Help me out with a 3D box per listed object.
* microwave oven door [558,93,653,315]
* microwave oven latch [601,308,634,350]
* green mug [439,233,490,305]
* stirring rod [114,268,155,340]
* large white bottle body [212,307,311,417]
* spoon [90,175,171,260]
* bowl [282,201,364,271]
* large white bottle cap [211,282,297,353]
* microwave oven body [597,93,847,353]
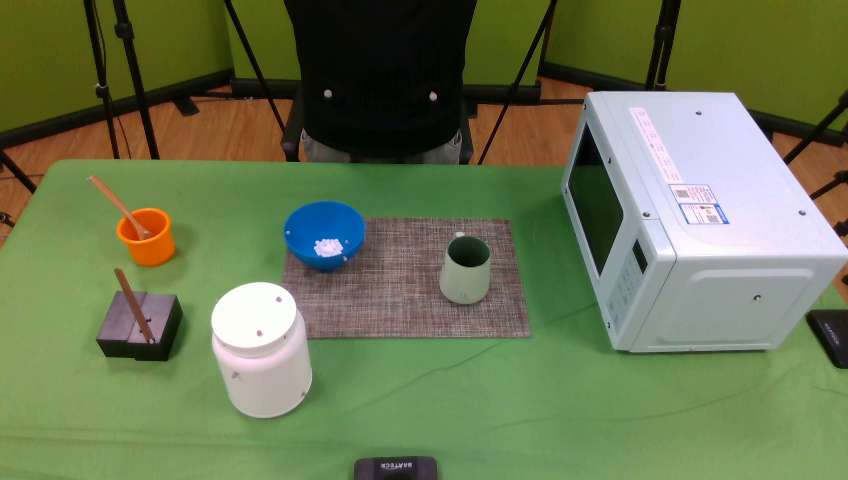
[{"bbox_3d":[0.327,-0.074,1.123,0.039,0.245,0.353,0,46,-5],"label":"microwave oven door"},{"bbox_3d":[0.331,0.153,1.044,0.030,0.029,0.078,-2,45,-5],"label":"microwave oven latch"},{"bbox_3d":[0.072,0.044,1.102,0.092,0.105,0.124,-6,46,-9],"label":"green mug"},{"bbox_3d":[-0.479,0.103,0.999,0.014,0.006,0.175,7,32,-49],"label":"stirring rod"},{"bbox_3d":[-0.241,0.165,0.907,0.131,0.185,0.130,2,46,-2],"label":"large white bottle body"},{"bbox_3d":[-0.539,-0.042,1.111,0.041,0.194,0.021,-45,19,-32],"label":"spoon"},{"bbox_3d":[-0.187,0.005,1.138,0.151,0.077,0.150,3,46,-3],"label":"bowl"},{"bbox_3d":[-0.237,0.106,0.846,0.115,0.018,0.114,2,45,-2],"label":"large white bottle cap"},{"bbox_3d":[0.475,-0.041,1.110,0.326,0.261,0.438,-1,45,-4],"label":"microwave oven body"}]
